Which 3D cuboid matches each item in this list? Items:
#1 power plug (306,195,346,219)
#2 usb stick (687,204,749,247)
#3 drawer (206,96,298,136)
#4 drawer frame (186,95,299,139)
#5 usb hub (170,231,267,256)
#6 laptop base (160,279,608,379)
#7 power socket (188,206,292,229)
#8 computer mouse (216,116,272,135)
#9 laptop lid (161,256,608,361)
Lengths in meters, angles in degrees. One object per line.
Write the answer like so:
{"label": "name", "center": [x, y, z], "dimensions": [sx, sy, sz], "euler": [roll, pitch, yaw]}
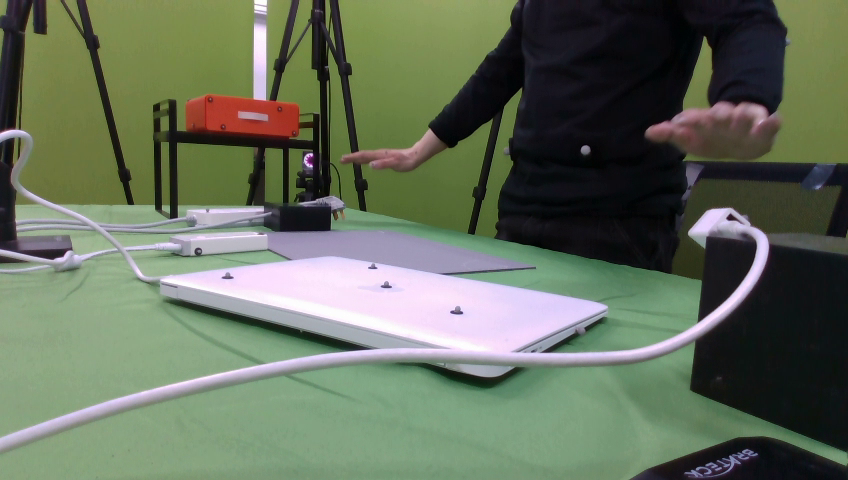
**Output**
{"label": "power plug", "center": [-0.192, -0.061, 1.199], "dimensions": [0.073, 0.052, 0.035], "euler": [-18, -6, -9]}
{"label": "usb stick", "center": [0.214, -0.010, 0.448], "dimensions": [0.021, 0.027, 0.059], "euler": [39, 2, 6]}
{"label": "drawer", "center": [-0.414, -0.276, 1.376], "dimensions": [0.195, 0.073, 0.210], "euler": [-3, 9, -31]}
{"label": "drawer frame", "center": [-0.417, -0.277, 1.378], "dimensions": [0.203, 0.082, 0.212], "euler": [-3, 8, -32]}
{"label": "usb hub", "center": [-0.290, 0.004, 0.862], "dimensions": [0.049, 0.025, 0.126], "euler": [10, 11, 42]}
{"label": "laptop base", "center": [-0.038, 0.058, 0.555], "dimensions": [0.352, 0.023, 0.237], "euler": [7, 7, 33]}
{"label": "power socket", "center": [-0.363, -0.048, 1.209], "dimensions": [0.072, 0.032, 0.228], "euler": [7, 9, 36]}
{"label": "computer mouse", "center": [-0.402, -0.257, 1.353], "dimensions": [0.118, 0.041, 0.062], "euler": [-5, 14, -35]}
{"label": "laptop lid", "center": [-0.037, 0.046, 0.556], "dimensions": [0.355, 0.013, 0.243], "euler": [8, 8, 35]}
